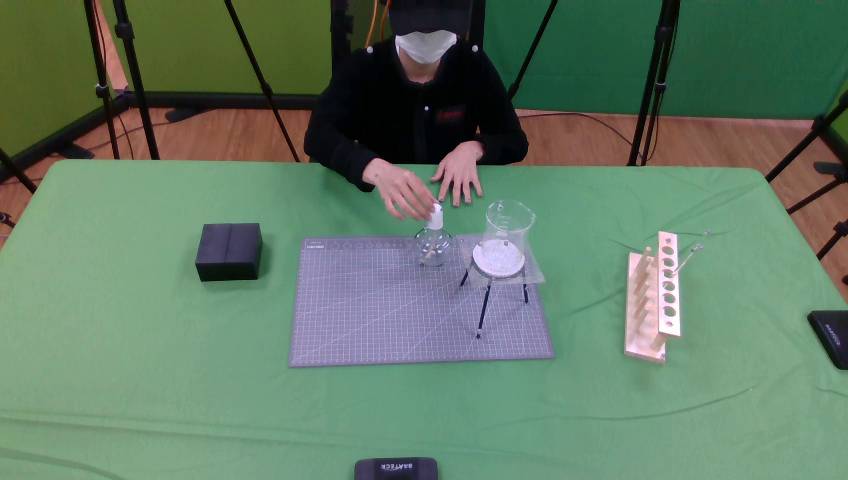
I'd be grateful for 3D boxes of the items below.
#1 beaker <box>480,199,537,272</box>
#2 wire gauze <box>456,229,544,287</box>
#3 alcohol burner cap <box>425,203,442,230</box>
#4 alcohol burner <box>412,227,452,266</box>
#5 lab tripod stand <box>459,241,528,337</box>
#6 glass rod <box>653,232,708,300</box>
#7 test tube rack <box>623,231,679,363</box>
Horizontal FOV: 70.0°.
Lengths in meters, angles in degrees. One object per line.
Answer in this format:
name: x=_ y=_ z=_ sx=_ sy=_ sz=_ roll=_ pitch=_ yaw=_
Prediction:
beaker: x=0.132 y=-0.004 z=0.973 sx=0.084 sy=0.101 sz=0.073 roll=-4 pitch=47 yaw=-9
wire gauze: x=0.125 y=0.030 z=1.008 sx=0.125 sy=0.011 sz=0.120 roll=-3 pitch=48 yaw=-11
alcohol burner cap: x=0.018 y=-0.045 z=1.100 sx=0.034 sy=0.048 sz=0.033 roll=2 pitch=41 yaw=-2
alcohol burner: x=0.016 y=-0.006 z=1.139 sx=0.078 sy=0.119 sz=0.077 roll=2 pitch=48 yaw=-2
lab tripod stand: x=0.122 y=0.075 z=1.054 sx=0.148 sy=0.132 sz=0.147 roll=3 pitch=44 yaw=-3
glass rod: x=0.441 y=0.049 z=1.050 sx=0.008 sy=0.200 sz=0.008 roll=4 pitch=52 yaw=-5
test tube rack: x=0.410 y=0.094 z=1.096 sx=0.066 sy=0.085 sz=0.241 roll=13 pitch=46 yaw=9
